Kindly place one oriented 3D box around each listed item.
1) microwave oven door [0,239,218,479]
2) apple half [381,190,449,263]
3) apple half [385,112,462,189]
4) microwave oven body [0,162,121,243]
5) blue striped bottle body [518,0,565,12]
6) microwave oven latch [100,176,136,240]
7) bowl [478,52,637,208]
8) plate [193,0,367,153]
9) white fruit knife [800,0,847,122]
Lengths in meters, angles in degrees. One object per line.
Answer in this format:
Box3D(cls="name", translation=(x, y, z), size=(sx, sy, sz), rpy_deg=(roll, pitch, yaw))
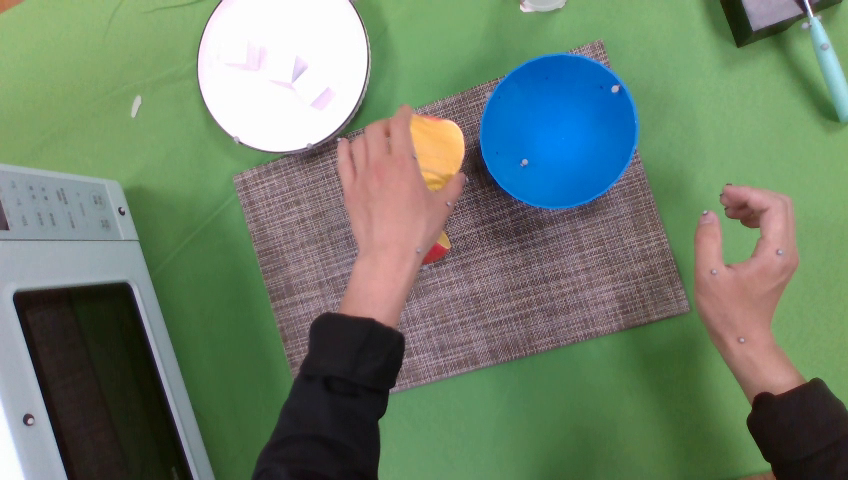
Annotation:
Box3D(cls="microwave oven door", translation=(-0.326, 0.171, 0.616), size=(0.039, 0.244, 0.355), rpy_deg=(-20, 87, 11))
Box3D(cls="apple half", translation=(-0.016, -0.008, 0.652), size=(0.053, 0.074, 0.080), rpy_deg=(-38, 87, 13))
Box3D(cls="apple half", translation=(0.000, -0.091, 0.603), size=(0.081, 0.032, 0.081), rpy_deg=(3, 108, 12))
Box3D(cls="microwave oven body", translation=(-0.474, 0.179, 0.650), size=(0.326, 0.260, 0.441), rpy_deg=(-19, 88, 10))
Box3D(cls="blue striped bottle body", translation=(0.117, -0.278, 0.600), size=(0.063, 0.121, 0.063), rpy_deg=(0, 90, 11))
Box3D(cls="microwave oven latch", translation=(-0.374, -0.036, 0.726), size=(0.030, 0.029, 0.079), rpy_deg=(-19, 88, 10))
Box3D(cls="bowl", translation=(0.134, -0.105, 0.617), size=(0.151, 0.077, 0.151), rpy_deg=(0, 91, 12))
Box3D(cls="plate", translation=(-0.162, -0.201, 0.700), size=(0.207, 0.039, 0.207), rpy_deg=(0, 91, 11))
Box3D(cls="white fruit knife", translation=(0.365, -0.203, 0.570), size=(0.016, 0.027, 0.208), rpy_deg=(-24, 103, 28))
